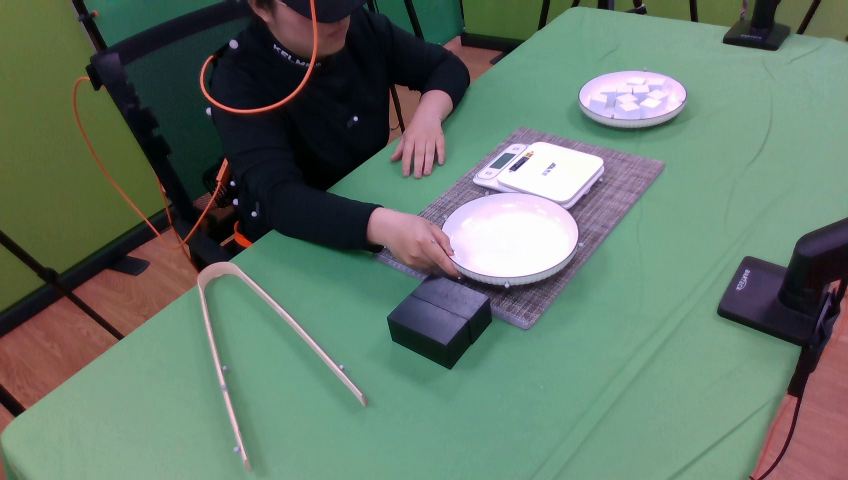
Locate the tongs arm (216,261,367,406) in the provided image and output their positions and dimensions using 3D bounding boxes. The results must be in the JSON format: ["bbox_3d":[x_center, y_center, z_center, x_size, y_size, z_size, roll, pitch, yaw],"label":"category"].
[{"bbox_3d":[-0.201,0.121,0.871,0.028,0.028,0.384,-36,46,-24],"label":"tongs arm"}]

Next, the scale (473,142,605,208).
[{"bbox_3d":[0.202,-0.121,1.074,0.199,0.032,0.149,23,49,33],"label":"scale"}]

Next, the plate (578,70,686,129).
[{"bbox_3d":[0.416,-0.280,1.222,0.209,0.038,0.208,-5,41,5],"label":"plate"}]

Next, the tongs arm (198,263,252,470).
[{"bbox_3d":[-0.270,0.154,0.841,0.051,0.026,0.381,-24,41,-17],"label":"tongs arm"}]

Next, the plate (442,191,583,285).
[{"bbox_3d":[0.131,-0.001,0.911,0.207,0.039,0.206,-4,39,4],"label":"plate"}]
